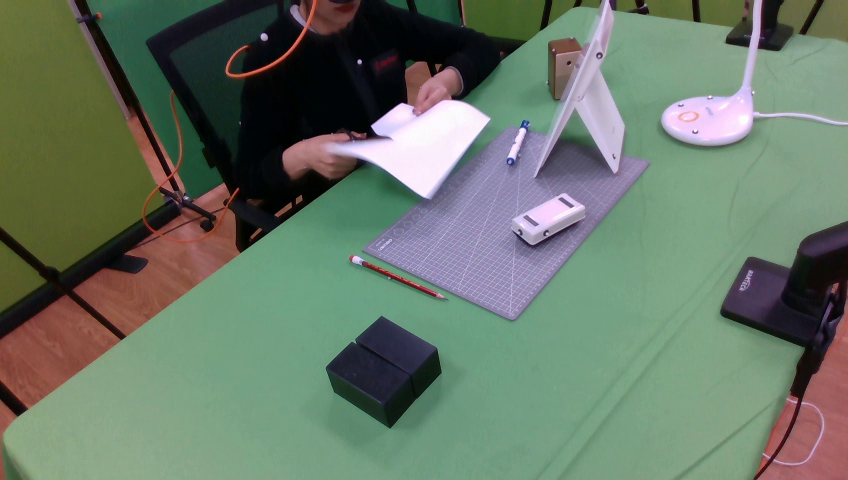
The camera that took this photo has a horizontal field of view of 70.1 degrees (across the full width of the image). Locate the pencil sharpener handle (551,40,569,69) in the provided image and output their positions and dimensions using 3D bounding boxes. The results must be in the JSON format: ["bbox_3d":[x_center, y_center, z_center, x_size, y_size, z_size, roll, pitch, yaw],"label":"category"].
[{"bbox_3d":[0.291,-0.409,1.321,0.036,0.068,0.030,2,40,-6],"label":"pencil sharpener handle"}]

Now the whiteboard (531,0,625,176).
[{"bbox_3d":[0.320,-0.258,1.050,0.144,0.306,0.217,22,45,5],"label":"whiteboard"}]

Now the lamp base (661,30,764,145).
[{"bbox_3d":[0.535,-0.287,1.096,0.179,0.181,0.159,-10,40,-4],"label":"lamp base"}]

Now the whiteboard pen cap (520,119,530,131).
[{"bbox_3d":[0.199,-0.226,1.204,0.018,0.018,0.033,7,41,18],"label":"whiteboard pen cap"}]

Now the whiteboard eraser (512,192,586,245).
[{"bbox_3d":[0.199,-0.032,0.962,0.113,0.042,0.055,-27,43,-20],"label":"whiteboard eraser"}]

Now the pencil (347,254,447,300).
[{"bbox_3d":[-0.044,0.058,0.933,0.192,0.012,0.012,22,49,29],"label":"pencil"}]

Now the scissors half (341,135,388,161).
[{"bbox_3d":[-0.111,-0.178,1.147,0.013,0.040,0.174,-41,16,-28],"label":"scissors half"}]

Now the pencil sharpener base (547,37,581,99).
[{"bbox_3d":[0.299,-0.368,1.290,0.061,0.107,0.076,-8,40,2],"label":"pencil sharpener base"}]

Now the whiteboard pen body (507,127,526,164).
[{"bbox_3d":[0.181,-0.189,1.163,0.017,0.017,0.140,7,42,19],"label":"whiteboard pen body"}]

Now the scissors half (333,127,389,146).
[{"bbox_3d":[-0.121,-0.194,1.140,0.173,0.040,0.013,12,50,47],"label":"scissors half"}]
